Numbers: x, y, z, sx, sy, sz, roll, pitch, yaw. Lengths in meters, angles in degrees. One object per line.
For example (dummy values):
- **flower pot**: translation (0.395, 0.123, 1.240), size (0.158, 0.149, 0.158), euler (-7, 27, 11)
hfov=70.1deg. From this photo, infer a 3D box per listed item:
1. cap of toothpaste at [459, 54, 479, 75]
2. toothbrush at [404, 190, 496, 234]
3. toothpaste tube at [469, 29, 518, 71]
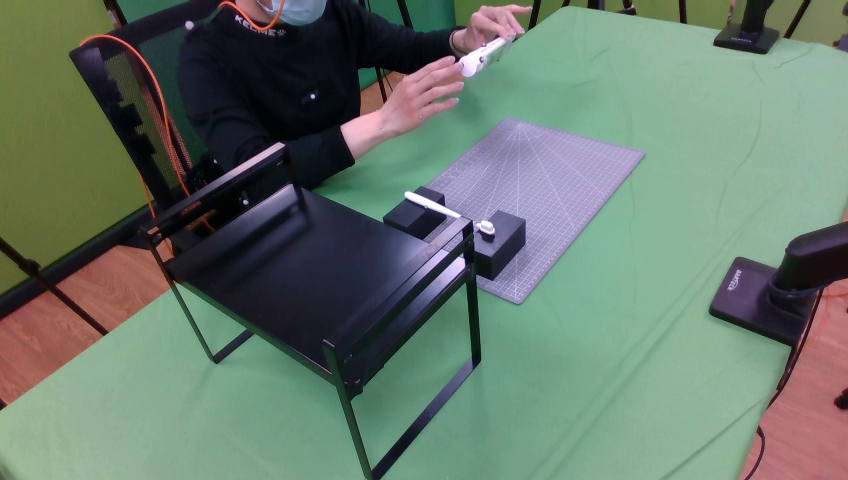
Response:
- **cap of toothpaste**: translation (0.077, -0.302, 1.039), size (0.037, 0.037, 0.011), euler (12, 30, 21)
- **toothbrush**: translation (0.036, -0.047, 0.942), size (0.180, 0.017, 0.014), euler (25, 61, 34)
- **toothpaste tube**: translation (0.123, -0.342, 1.095), size (0.034, 0.055, 0.165), euler (42, 45, 7)
